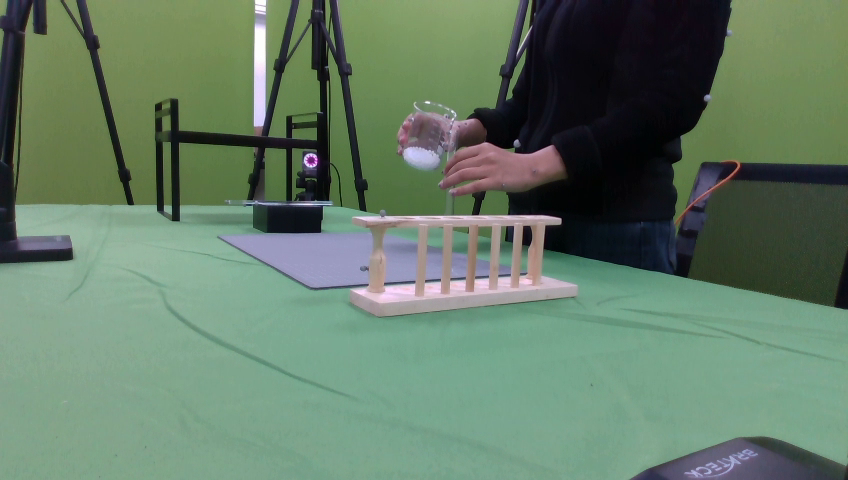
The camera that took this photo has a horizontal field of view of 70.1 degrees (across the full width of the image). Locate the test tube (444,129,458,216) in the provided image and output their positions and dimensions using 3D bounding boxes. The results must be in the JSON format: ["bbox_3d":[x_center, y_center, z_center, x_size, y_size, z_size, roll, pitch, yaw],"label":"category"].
[{"bbox_3d":[0.043,-0.101,0.964,0.017,0.150,0.017,3,1,0],"label":"test tube"}]

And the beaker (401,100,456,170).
[{"bbox_3d":[0.007,-0.174,1.017,0.074,0.100,0.083,-11,40,-40],"label":"beaker"}]

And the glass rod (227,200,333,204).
[{"bbox_3d":[-0.268,-0.071,1.143,0.201,0.008,0.008,-1,8,-29],"label":"glass rod"}]

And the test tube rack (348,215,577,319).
[{"bbox_3d":[0.048,0.020,0.619,0.244,0.085,0.066,-2,9,-31],"label":"test tube rack"}]
